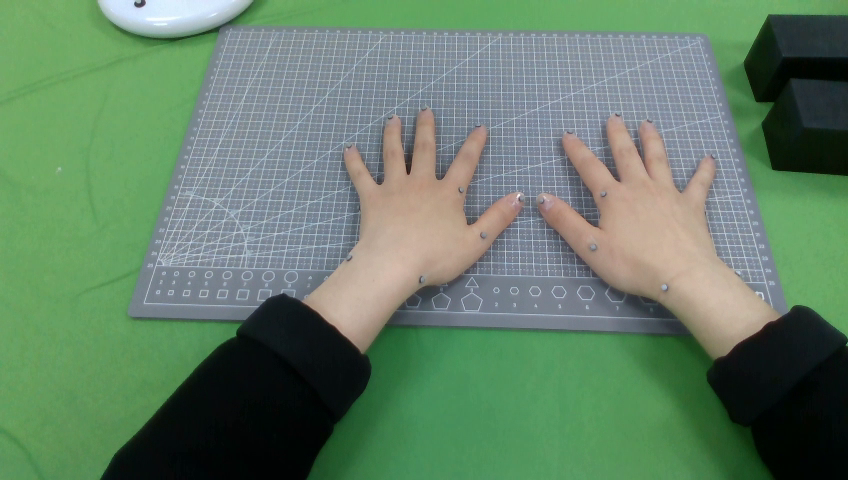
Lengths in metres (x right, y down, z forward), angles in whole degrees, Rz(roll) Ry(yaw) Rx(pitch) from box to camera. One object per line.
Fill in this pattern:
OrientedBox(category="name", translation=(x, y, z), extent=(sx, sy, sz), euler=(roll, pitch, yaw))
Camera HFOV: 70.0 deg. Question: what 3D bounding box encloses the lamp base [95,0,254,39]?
OrientedBox(category="lamp base", translation=(-0.248, -0.302, 0.533), extent=(0.160, 0.182, 0.177), euler=(-35, 61, -19))
